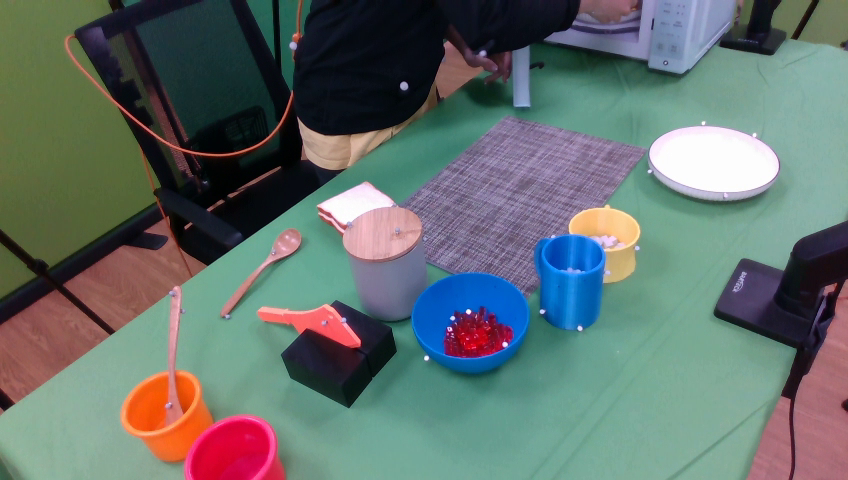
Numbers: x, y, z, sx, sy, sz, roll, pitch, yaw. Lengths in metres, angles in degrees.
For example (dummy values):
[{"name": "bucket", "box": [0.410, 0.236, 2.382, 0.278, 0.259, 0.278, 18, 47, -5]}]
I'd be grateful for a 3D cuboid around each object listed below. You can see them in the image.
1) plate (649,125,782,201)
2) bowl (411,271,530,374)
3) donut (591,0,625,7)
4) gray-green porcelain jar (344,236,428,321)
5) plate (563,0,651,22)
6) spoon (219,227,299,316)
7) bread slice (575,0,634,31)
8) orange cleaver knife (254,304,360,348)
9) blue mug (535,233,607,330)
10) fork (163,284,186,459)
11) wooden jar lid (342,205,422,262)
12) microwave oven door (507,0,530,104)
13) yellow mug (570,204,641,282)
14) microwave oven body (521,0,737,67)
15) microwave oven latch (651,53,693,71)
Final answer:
[{"name": "plate", "box": [0.493, -0.128, 1.036, 0.207, 0.039, 0.206, -4, 41, 4]}, {"name": "bowl", "box": [0.062, 0.119, 0.780, 0.151, 0.077, 0.150, -4, 40, 4]}, {"name": "donut", "box": [0.436, -0.590, 1.431, 0.099, 0.048, 0.098, -3, 54, 4]}, {"name": "gray-green porcelain jar", "box": [-0.050, 0.042, 0.849, 0.106, 0.127, 0.105, -4, 41, 4]}, {"name": "plate", "box": [0.441, -0.575, 1.457, 0.209, 0.038, 0.208, -6, 42, 6]}, {"name": "spoon", "box": [-0.261, 0.046, 0.954, 0.041, 0.021, 0.194, 26, 48, 11]}, {"name": "bread slice", "box": [0.433, -0.568, 1.474, 0.105, 0.019, 0.131, -34, 68, -24]}, {"name": "orange cleaver knife", "box": [-0.161, 0.115, 0.813, 0.210, 0.077, 0.012, -4, 33, 46]}, {"name": "blue mug", "box": [0.191, 0.048, 0.824, 0.082, 0.106, 0.115, -26, 44, -20]}, {"name": "fork", "box": [-0.303, 0.157, 0.733, 0.028, 0.019, 0.207, -3, 84, 12]}, {"name": "wooden jar lid", "box": [-0.055, -0.005, 0.808, 0.108, 0.021, 0.108, -6, 40, 6]}, {"name": "microwave oven door", "box": [0.204, -0.488, 1.309, 0.039, 0.245, 0.354, -1, 41, 7]}, {"name": "yellow mug", "box": [0.268, -0.005, 0.904, 0.099, 0.064, 0.130, 7, 42, 15]}, {"name": "microwave oven body", "box": [0.475, -0.602, 1.411, 0.438, 0.261, 0.327, 23, 50, 32]}, {"name": "microwave oven latch", "box": [0.533, -0.387, 1.302, 0.078, 0.029, 0.030, 29, 53, 35]}]
